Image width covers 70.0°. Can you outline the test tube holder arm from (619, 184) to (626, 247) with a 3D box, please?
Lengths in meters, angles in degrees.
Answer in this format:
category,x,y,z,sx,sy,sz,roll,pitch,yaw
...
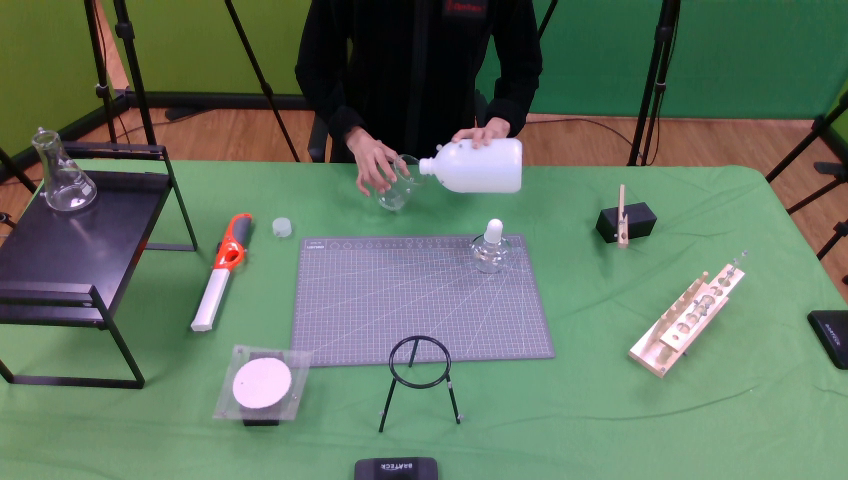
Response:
category,x,y,z,sx,sy,sz,roll,pitch,yaw
test tube holder arm,0.396,-0.053,1.210,0.013,0.015,0.177,14,46,1

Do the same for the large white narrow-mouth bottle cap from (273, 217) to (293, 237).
category,x,y,z,sx,sy,sz,roll,pitch,yaw
large white narrow-mouth bottle cap,-0.281,-0.026,1.203,0.038,0.024,0.037,2,46,-2

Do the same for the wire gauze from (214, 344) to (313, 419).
category,x,y,z,sx,sy,sz,roll,pitch,yaw
wire gauze,-0.241,0.213,0.915,0.121,0.011,0.124,5,46,1

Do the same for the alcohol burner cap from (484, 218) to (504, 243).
category,x,y,z,sx,sy,sz,roll,pitch,yaw
alcohol burner cap,0.130,-0.021,1.106,0.034,0.048,0.033,3,51,-4

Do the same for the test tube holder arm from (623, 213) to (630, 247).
category,x,y,z,sx,sy,sz,roll,pitch,yaw
test tube holder arm,0.393,-0.020,1.179,0.010,0.015,0.087,14,46,1

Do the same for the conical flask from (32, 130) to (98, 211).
category,x,y,z,sx,sy,sz,roll,pitch,yaw
conical flask,-0.565,-0.110,0.944,0.075,0.122,0.075,2,46,-2

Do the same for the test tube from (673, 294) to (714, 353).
category,x,y,z,sx,sy,sz,roll,pitch,yaw
test tube,0.428,0.137,0.978,0.017,0.151,0.017,4,47,-4

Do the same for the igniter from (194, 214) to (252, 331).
category,x,y,z,sx,sy,sz,roll,pitch,yaw
igniter,-0.367,0.050,1.119,0.057,0.025,0.275,-4,45,7

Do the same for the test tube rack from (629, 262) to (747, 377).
category,x,y,z,sx,sy,sz,roll,pitch,yaw
test tube rack,0.464,0.126,1.060,0.242,0.085,0.066,-34,56,-31

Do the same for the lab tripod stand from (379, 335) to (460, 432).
category,x,y,z,sx,sy,sz,roll,pitch,yaw
lab tripod stand,-0.011,0.214,0.911,0.148,0.132,0.147,1,45,0

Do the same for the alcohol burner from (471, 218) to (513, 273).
category,x,y,z,sx,sy,sz,roll,pitch,yaw
alcohol burner,0.128,0.005,1.132,0.078,0.120,0.077,0,47,0

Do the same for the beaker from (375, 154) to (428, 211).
category,x,y,z,sx,sy,sz,roll,pitch,yaw
beaker,-0.046,-0.113,1.211,0.084,0.100,0.073,-8,63,-40

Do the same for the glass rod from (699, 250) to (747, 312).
category,x,y,z,sx,sy,sz,roll,pitch,yaw
glass rod,0.500,0.074,1.021,0.008,0.201,0.008,0,55,0

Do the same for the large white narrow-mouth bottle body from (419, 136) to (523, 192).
category,x,y,z,sx,sy,sz,roll,pitch,yaw
large white narrow-mouth bottle body,0.088,-0.142,1.142,0.194,0.102,0.101,0,45,10
